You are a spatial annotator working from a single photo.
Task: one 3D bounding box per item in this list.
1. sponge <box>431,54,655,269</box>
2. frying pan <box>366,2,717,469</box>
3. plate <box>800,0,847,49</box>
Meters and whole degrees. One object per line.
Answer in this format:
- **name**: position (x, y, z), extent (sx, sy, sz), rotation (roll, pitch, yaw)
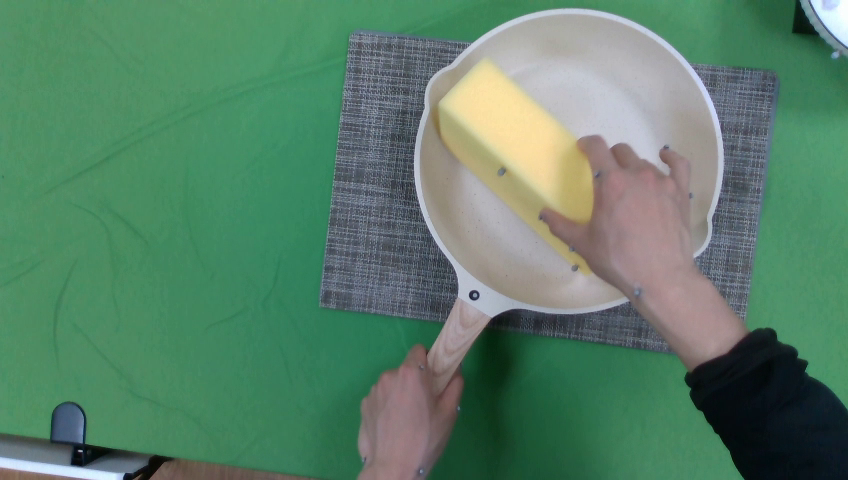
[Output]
- **sponge**: position (0.103, -0.067, 0.574), extent (0.206, 0.118, 0.061), rotation (42, 86, 8)
- **frying pan**: position (0.077, 0.007, 0.598), extent (0.306, 0.103, 0.487), rotation (32, 85, 4)
- **plate**: position (0.438, -0.263, 0.555), extent (0.207, 0.039, 0.207), rotation (0, 91, 3)
